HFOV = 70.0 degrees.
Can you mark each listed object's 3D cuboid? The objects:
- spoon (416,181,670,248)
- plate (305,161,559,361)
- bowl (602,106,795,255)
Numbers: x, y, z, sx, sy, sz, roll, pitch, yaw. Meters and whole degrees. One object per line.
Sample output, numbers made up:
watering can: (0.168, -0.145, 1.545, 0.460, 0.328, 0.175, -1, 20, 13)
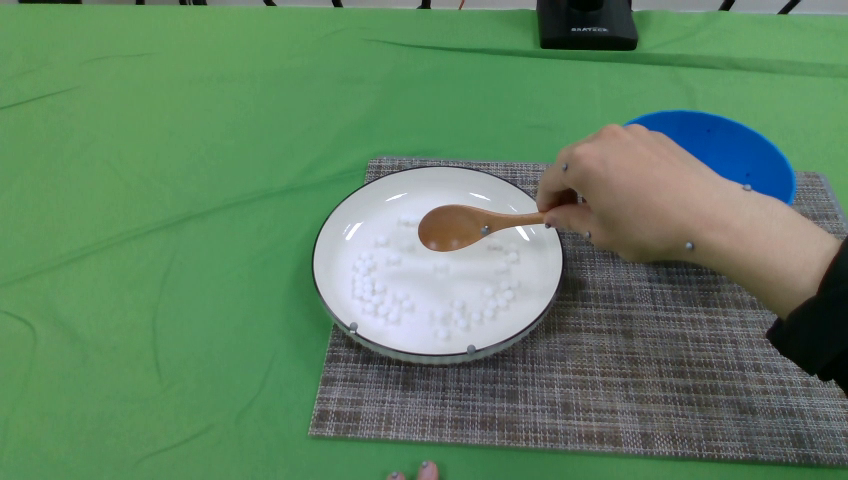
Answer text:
spoon: (0.081, -0.020, 0.454, 0.193, 0.042, 0.021, -6, 26, 29)
plate: (0.007, 0.016, 0.512, 0.208, 0.039, 0.205, -1, 49, 1)
bowl: (0.225, -0.040, 0.527, 0.151, 0.077, 0.150, -1, 49, 1)
